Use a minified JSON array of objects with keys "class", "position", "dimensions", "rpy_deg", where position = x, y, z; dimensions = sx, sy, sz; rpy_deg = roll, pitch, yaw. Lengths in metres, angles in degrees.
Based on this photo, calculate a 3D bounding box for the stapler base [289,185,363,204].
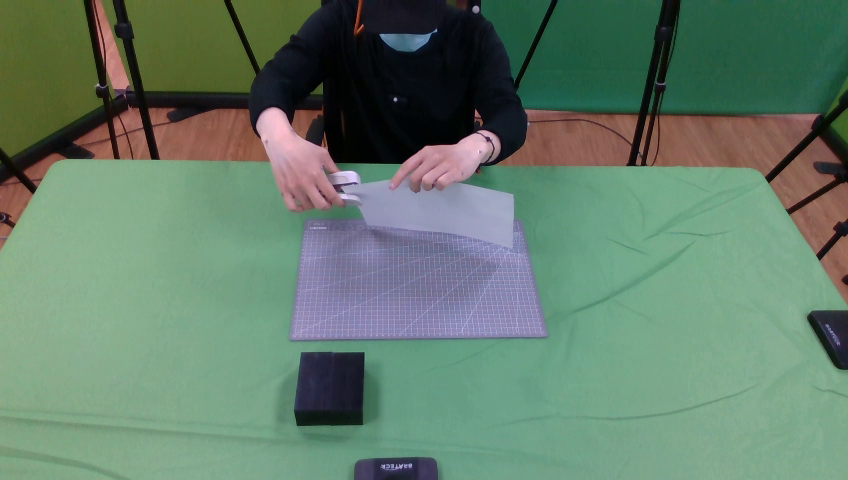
[{"class":"stapler base","position":[-0.172,-0.083,1.079],"dimensions":[0.130,0.041,0.024],"rpy_deg":[3,75,15]}]

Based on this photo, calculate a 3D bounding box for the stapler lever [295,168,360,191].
[{"class":"stapler lever","position":[-0.171,-0.108,1.084],"dimensions":[0.118,0.027,0.040],"rpy_deg":[2,75,15]}]
